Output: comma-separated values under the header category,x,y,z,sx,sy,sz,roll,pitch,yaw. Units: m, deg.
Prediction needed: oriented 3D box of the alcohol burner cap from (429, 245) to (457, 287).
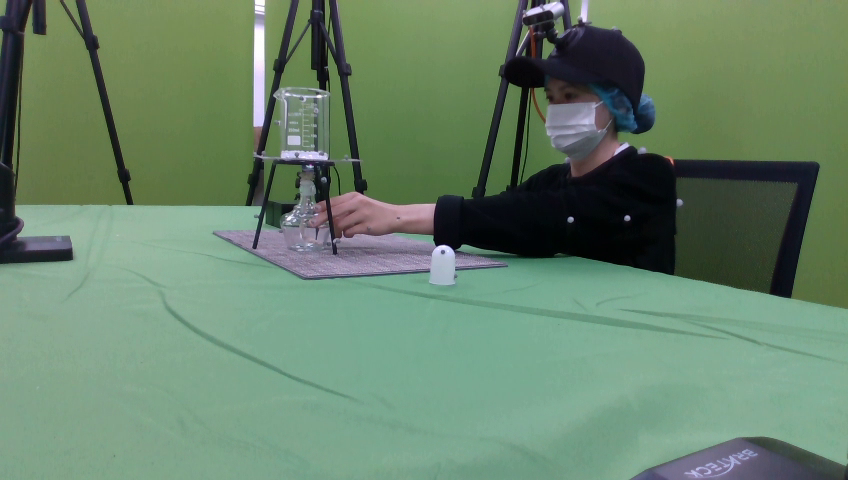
category,x,y,z,sx,sy,sz,roll,pitch,yaw
alcohol burner cap,0.024,0.030,0.705,0.034,0.048,0.034,2,7,0

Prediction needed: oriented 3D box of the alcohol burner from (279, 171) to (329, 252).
category,x,y,z,sx,sy,sz,roll,pitch,yaw
alcohol burner,-0.175,-0.043,0.895,0.078,0.119,0.078,3,5,0

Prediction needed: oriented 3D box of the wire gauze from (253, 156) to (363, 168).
category,x,y,z,sx,sy,sz,roll,pitch,yaw
wire gauze,-0.172,-0.117,0.891,0.122,0.011,0.124,0,3,-38

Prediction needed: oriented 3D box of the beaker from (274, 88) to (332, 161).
category,x,y,z,sx,sy,sz,roll,pitch,yaw
beaker,-0.177,-0.165,0.879,0.084,0.100,0.074,2,5,1

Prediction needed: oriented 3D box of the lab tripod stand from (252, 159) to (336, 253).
category,x,y,z,sx,sy,sz,roll,pitch,yaw
lab tripod stand,-0.180,-0.053,0.900,0.148,0.131,0.148,1,6,0
